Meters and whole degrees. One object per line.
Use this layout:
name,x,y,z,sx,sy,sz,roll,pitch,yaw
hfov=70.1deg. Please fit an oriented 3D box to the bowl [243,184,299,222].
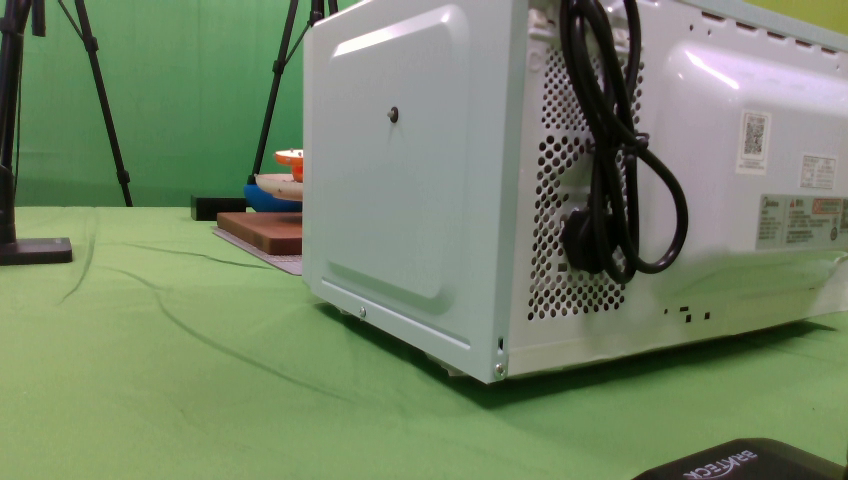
bowl,-0.321,-0.081,1.334,0.151,0.077,0.151,3,8,0

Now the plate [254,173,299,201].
plate,-0.207,-0.096,1.120,0.208,0.039,0.207,4,9,0

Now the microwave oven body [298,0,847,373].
microwave oven body,0.151,-0.055,0.542,0.444,0.260,0.324,-2,7,-33

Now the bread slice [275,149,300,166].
bread slice,-0.202,-0.154,1.109,0.106,0.018,0.135,13,19,41

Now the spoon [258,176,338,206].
spoon,-0.279,-0.112,1.356,0.194,0.021,0.041,-27,19,-27

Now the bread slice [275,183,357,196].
bread slice,-0.204,-0.094,1.114,0.132,0.019,0.104,-5,11,-45

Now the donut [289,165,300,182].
donut,-0.198,-0.124,1.117,0.099,0.048,0.099,6,17,-1

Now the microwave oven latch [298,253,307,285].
microwave oven latch,-0.082,0.027,0.582,0.079,0.029,0.030,-2,7,-33

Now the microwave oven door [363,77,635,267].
microwave oven door,0.091,-0.098,0.823,0.355,0.243,0.039,4,8,15
